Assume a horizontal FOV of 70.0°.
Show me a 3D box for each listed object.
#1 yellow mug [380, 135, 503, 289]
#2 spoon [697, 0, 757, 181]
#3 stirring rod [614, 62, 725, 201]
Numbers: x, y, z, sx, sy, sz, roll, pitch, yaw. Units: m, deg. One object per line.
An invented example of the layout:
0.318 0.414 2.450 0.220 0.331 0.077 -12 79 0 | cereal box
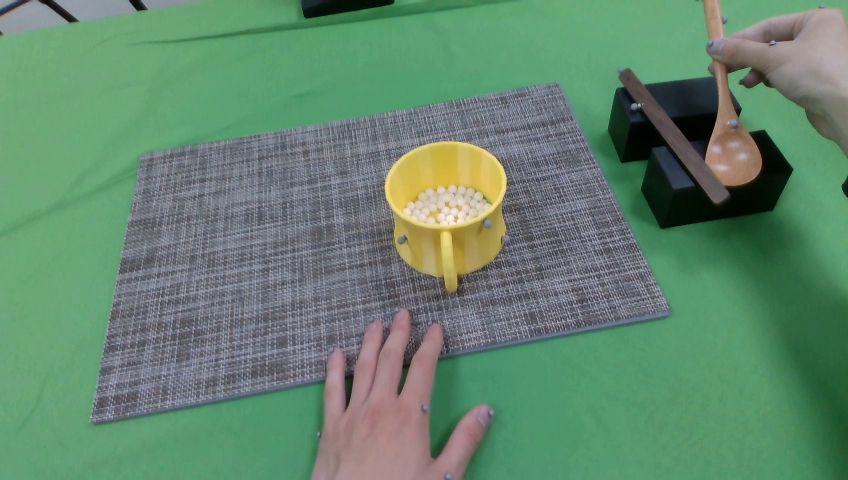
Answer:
0.017 -0.020 0.503 0.100 0.064 0.129 -4 53 3 | yellow mug
0.245 -0.135 0.505 0.041 0.022 0.192 -8 71 28 | spoon
0.206 -0.099 0.521 0.014 0.006 0.174 -36 49 22 | stirring rod
